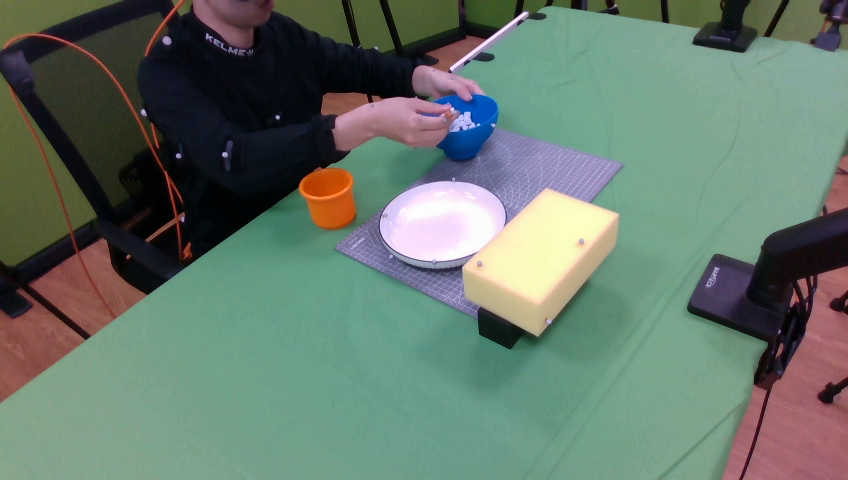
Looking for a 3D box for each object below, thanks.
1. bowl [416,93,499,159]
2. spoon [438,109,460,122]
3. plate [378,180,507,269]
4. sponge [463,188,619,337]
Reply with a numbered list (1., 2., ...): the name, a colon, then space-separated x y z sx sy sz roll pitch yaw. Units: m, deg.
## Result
1. bowl: 0.068 -0.204 1.127 0.151 0.077 0.150 -7 38 6
2. spoon: 0.040 -0.210 1.012 0.041 0.021 0.193 -14 8 6
3. plate: 0.031 -0.022 0.974 0.209 0.038 0.208 -4 40 4
4. sponge: 0.160 0.022 0.814 0.117 0.061 0.207 24 50 32
